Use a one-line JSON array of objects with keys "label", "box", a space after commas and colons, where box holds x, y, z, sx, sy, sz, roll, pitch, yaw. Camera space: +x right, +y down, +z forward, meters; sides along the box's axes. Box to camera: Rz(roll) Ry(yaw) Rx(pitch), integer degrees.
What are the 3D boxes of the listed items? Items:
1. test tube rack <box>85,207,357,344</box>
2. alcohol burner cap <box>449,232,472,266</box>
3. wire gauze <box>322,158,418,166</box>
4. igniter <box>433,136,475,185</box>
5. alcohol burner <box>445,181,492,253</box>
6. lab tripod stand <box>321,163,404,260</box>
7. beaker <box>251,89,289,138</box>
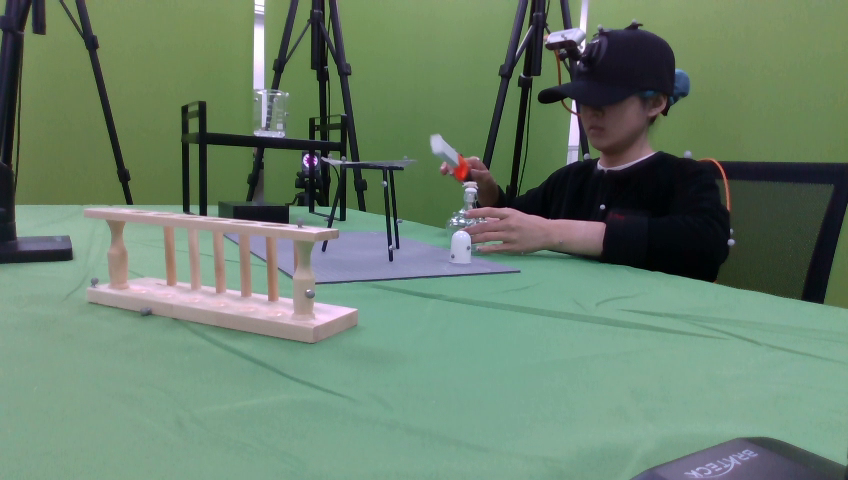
[{"label": "test tube rack", "box": [-0.177, 0.022, 0.518, 0.241, 0.085, 0.067, 6, 7, 23]}, {"label": "alcohol burner cap", "box": [0.052, 0.012, 0.843, 0.034, 0.048, 0.034, 2, 6, 0]}, {"label": "wire gauze", "box": [-0.081, -0.112, 0.877, 0.122, 0.011, 0.124, 0, 6, -18]}, {"label": "igniter", "box": [0.060, -0.145, 1.137, 0.025, 0.057, 0.277, -7, -7, 15]}, {"label": "alcohol burner", "box": [0.075, -0.039, 0.999, 0.078, 0.119, 0.078, 4, 8, 0]}, {"label": "lab tripod stand", "box": [-0.076, -0.045, 0.884, 0.148, 0.131, 0.148, 2, 5, 0]}, {"label": "beaker", "box": [-0.334, -0.273, 1.316, 0.084, 0.100, 0.074, 6, 8, 15]}]
